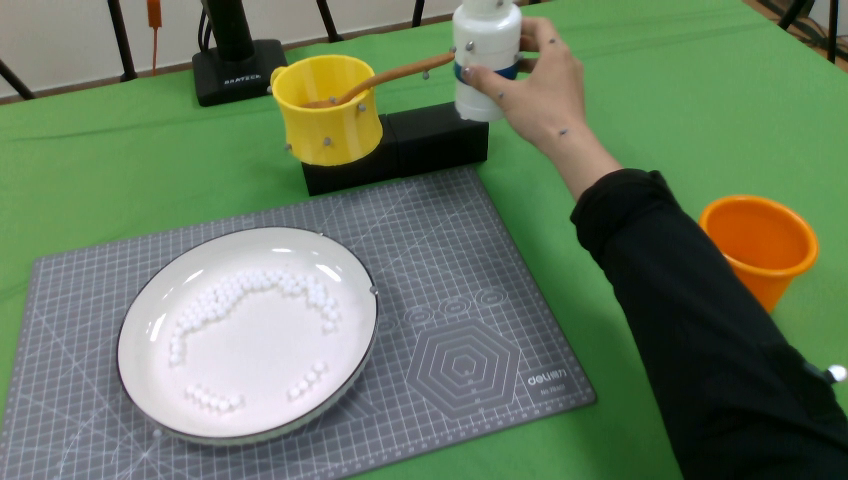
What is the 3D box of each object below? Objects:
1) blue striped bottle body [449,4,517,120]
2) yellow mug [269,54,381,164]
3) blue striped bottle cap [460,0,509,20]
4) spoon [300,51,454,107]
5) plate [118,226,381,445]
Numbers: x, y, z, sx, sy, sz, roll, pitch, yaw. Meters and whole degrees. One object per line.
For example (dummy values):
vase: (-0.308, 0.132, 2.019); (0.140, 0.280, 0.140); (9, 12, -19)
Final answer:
blue striped bottle body: (0.056, -0.181, 0.576); (0.063, 0.122, 0.062); (-3, 47, 3)
yellow mug: (-0.109, -0.139, 0.614); (0.130, 0.064, 0.099); (25, 52, 25)
blue striped bottle cap: (0.053, -0.215, 0.538); (0.044, 0.021, 0.044); (-4, 47, 5)
spoon: (-0.055, -0.144, 0.573); (0.193, 0.022, 0.041); (-14, 35, 36)
plate: (-0.138, 0.074, 0.502); (0.208, 0.039, 0.205); (-1, 47, 1)
